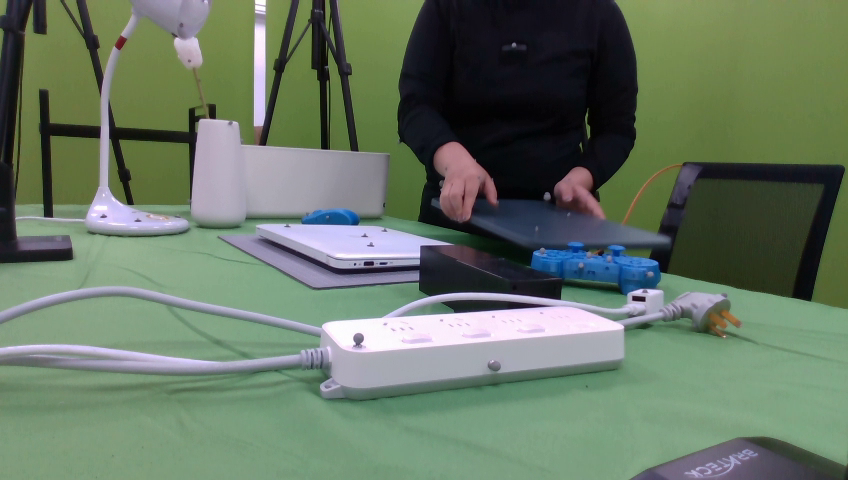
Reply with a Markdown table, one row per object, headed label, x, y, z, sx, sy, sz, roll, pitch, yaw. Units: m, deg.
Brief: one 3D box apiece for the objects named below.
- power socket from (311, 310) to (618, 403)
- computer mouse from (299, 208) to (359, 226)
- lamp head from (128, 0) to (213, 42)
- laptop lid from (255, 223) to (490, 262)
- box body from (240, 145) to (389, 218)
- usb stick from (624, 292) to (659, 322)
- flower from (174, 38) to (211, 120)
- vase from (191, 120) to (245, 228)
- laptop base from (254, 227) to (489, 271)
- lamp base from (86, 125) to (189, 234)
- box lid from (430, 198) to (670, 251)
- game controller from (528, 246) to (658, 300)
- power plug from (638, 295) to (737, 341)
| label | x | y | z | sx | sy | sz | roll | pitch | yaw |
| --- | --- | --- | --- | --- | --- | --- | --- | --- | --- |
| power socket | 0.034 | 0.074 | 0.415 | 0.228 | 0.032 | 0.072 | -1 | 7 | -24 |
| computer mouse | -0.195 | -0.045 | 1.241 | 0.117 | 0.041 | 0.063 | 0 | 9 | 11 |
| lamp head | -0.423 | -0.394 | 0.980 | 0.123 | 0.112 | 0.112 | 20 | 7 | -3 |
| laptop lid | -0.093 | 0.000 | 0.911 | 0.243 | 0.013 | 0.355 | 1 | 7 | -30 |
| box body | -0.297 | -0.143 | 1.474 | 0.366 | 0.160 | 0.253 | -1 | 9 | -30 |
| usb stick | 0.211 | 0.064 | 0.580 | 0.021 | 0.027 | 0.059 | -1 | -4 | 36 |
| flower | -0.401 | -0.207 | 1.141 | 0.038 | 0.361 | 0.044 | -14 | 3 | 44 |
| vase | -0.389 | -0.124 | 1.142 | 0.098 | 0.200 | 0.098 | 3 | 9 | 0 |
| laptop base | -0.096 | 0.012 | 0.911 | 0.237 | 0.023 | 0.352 | 2 | 6 | -32 |
| lamp base | -0.497 | -0.105 | 1.027 | 0.179 | 0.180 | 0.160 | 1 | 7 | 2 |
| box lid | 0.194 | -0.032 | 1.018 | 0.264 | 0.015 | 0.369 | -1 | 13 | -24 |
| game controller | 0.202 | 0.036 | 0.732 | 0.155 | 0.051 | 0.097 | 5 | 10 | 20 |
| power plug | 0.235 | 0.077 | 0.535 | 0.072 | 0.035 | 0.052 | -33 | 39 | -6 |
